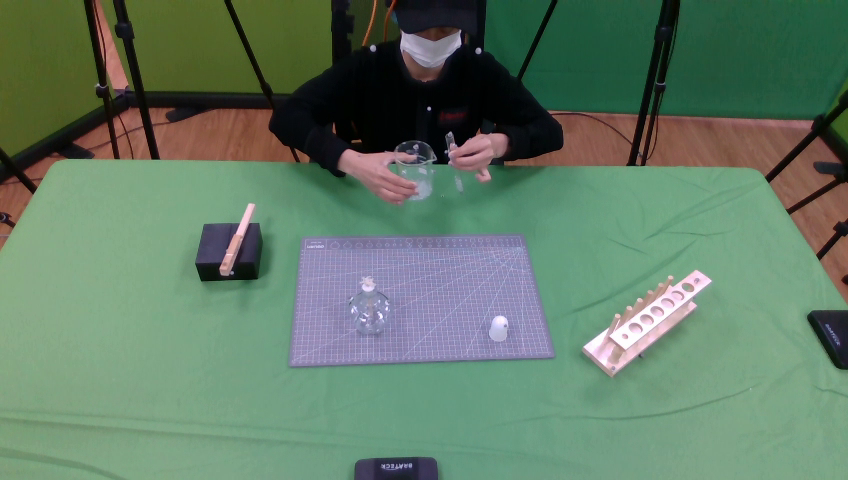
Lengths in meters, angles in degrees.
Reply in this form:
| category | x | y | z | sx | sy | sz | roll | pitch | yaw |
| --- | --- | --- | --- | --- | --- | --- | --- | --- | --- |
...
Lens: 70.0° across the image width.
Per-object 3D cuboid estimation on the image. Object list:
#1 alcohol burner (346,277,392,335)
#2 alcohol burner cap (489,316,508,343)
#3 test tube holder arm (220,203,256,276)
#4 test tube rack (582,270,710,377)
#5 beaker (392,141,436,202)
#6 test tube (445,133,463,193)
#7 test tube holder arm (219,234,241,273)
| category | x | y | z | sx | sy | sz | roll | pitch | yaw |
| --- | --- | --- | --- | --- | --- | --- | --- | --- | --- |
| alcohol burner | -0.093 | 0.106 | 1.021 | 0.078 | 0.120 | 0.077 | 1 | 46 | -1 |
| alcohol burner cap | 0.130 | 0.151 | 1.045 | 0.034 | 0.048 | 0.033 | 2 | 46 | -2 |
| test tube holder arm | -0.340 | -0.005 | 1.112 | 0.015 | 0.013 | 0.177 | 5 | 46 | 2 |
| test tube rack | 0.389 | 0.132 | 1.057 | 0.242 | 0.085 | 0.066 | -28 | 54 | -28 |
| beaker | -0.017 | -0.130 | 1.177 | 0.084 | 0.101 | 0.073 | 10 | 49 | 11 |
| test tube | 0.060 | -0.148 | 1.192 | 0.017 | 0.151 | 0.017 | -7 | 49 | 8 |
| test tube holder arm | -0.344 | 0.023 | 1.076 | 0.015 | 0.010 | 0.087 | 5 | 45 | 2 |
